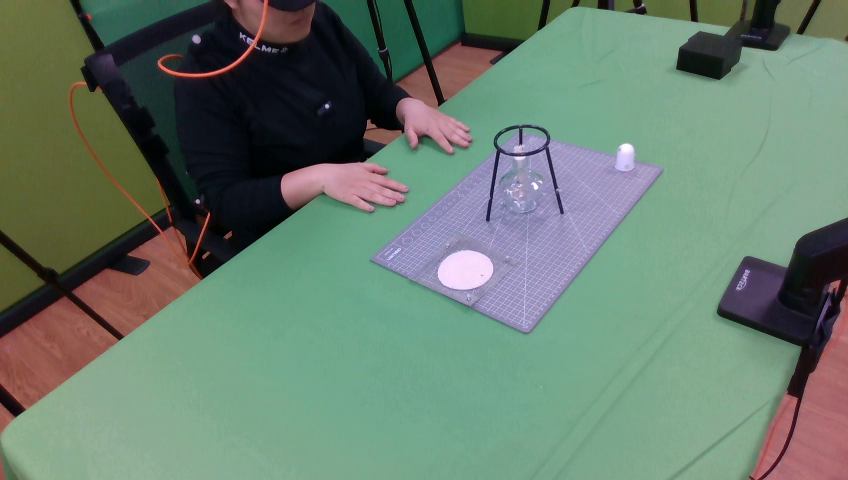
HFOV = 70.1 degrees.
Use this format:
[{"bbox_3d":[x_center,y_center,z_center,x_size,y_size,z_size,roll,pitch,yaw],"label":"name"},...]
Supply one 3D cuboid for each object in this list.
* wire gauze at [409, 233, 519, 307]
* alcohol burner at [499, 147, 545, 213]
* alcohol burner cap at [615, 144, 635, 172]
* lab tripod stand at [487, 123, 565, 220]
[{"bbox_3d":[0.061,0.045,0.925,0.120,0.011,0.125,25,52,35],"label":"wire gauze"},{"bbox_3d":[0.161,-0.104,1.001,0.078,0.120,0.077,-6,42,6],"label":"alcohol burner"},{"bbox_3d":[0.357,-0.147,1.069,0.034,0.048,0.033,-6,40,6],"label":"alcohol burner cap"},{"bbox_3d":[0.162,-0.110,0.992,0.148,0.132,0.147,-5,42,5],"label":"lab tripod stand"}]
